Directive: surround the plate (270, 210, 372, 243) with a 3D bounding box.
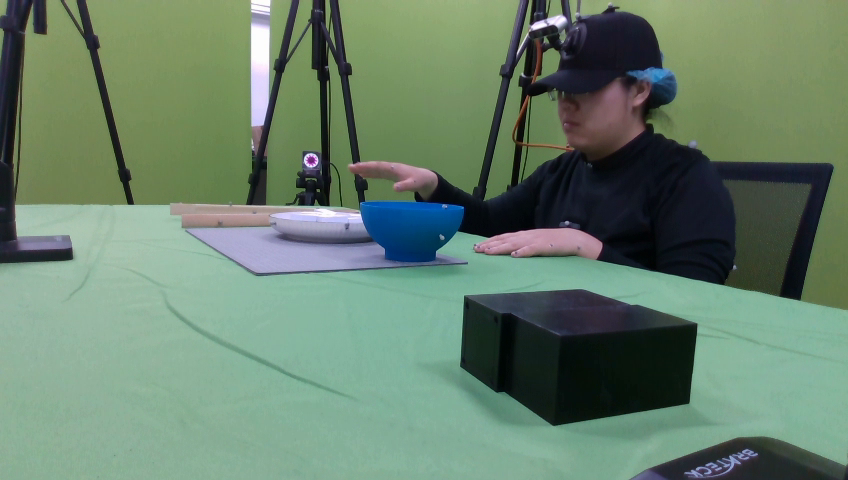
[{"bbox_3d":[-0.161,-0.023,1.054,0.208,0.039,0.207,2,7,0],"label":"plate"}]

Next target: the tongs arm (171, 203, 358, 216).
[{"bbox_3d":[-0.331,-0.058,1.295,0.387,0.026,0.050,0,8,-25],"label":"tongs arm"}]

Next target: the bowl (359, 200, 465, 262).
[{"bbox_3d":[-0.018,-0.013,0.859,0.151,0.077,0.151,2,7,0],"label":"bowl"}]

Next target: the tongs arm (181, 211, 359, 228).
[{"bbox_3d":[-0.291,-0.043,1.225,0.390,0.028,0.028,-3,7,-38],"label":"tongs arm"}]
